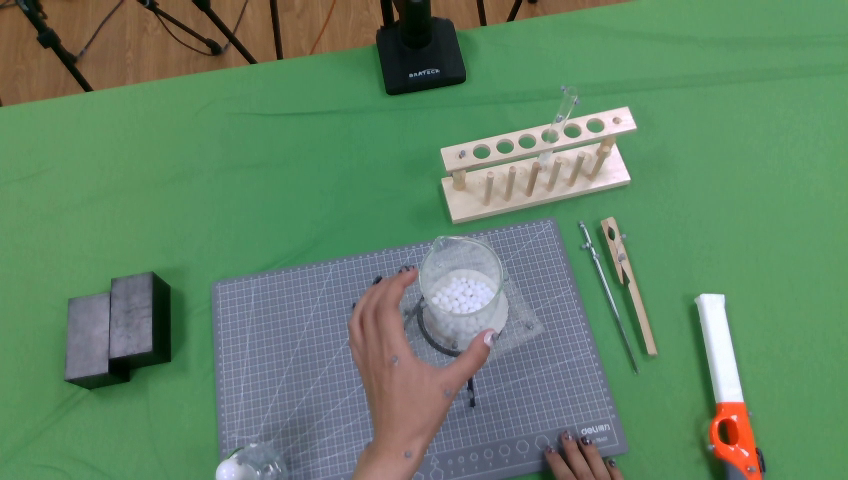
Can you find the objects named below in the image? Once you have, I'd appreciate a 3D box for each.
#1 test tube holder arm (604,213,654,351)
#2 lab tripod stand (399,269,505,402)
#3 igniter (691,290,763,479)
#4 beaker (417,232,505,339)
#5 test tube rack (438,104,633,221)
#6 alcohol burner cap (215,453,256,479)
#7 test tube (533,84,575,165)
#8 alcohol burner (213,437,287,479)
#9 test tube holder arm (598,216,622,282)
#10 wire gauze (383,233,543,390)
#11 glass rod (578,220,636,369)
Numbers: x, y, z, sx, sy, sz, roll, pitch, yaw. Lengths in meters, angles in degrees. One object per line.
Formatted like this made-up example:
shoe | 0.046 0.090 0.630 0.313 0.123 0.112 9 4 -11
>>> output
test tube holder arm | 0.251 0.049 0.745 0.013 0.015 0.177 -24 64 27
lab tripod stand | 0.035 0.097 0.667 0.148 0.132 0.147 -1 67 4
igniter | 0.338 0.188 0.677 0.057 0.025 0.274 4 66 -7
beaker | 0.032 0.046 0.565 0.074 0.101 0.083 -25 67 -7
test tube rack | 0.143 -0.098 0.779 0.242 0.086 0.066 -13 66 -3
alcohol burner cap | -0.187 0.224 0.590 0.034 0.048 0.033 -1 56 2
test tube | 0.157 -0.136 0.741 0.017 0.151 0.017 2 64 -3
alcohol burner | -0.184 0.241 0.622 0.078 0.120 0.077 -1 64 3
test tube holder arm | 0.238 0.010 0.765 0.010 0.015 0.087 -24 64 27
wire gauze | 0.037 0.067 0.608 0.121 0.011 0.124 -27 69 -6
glass rod | 0.223 0.062 0.746 0.008 0.008 0.198 -12 66 -4
